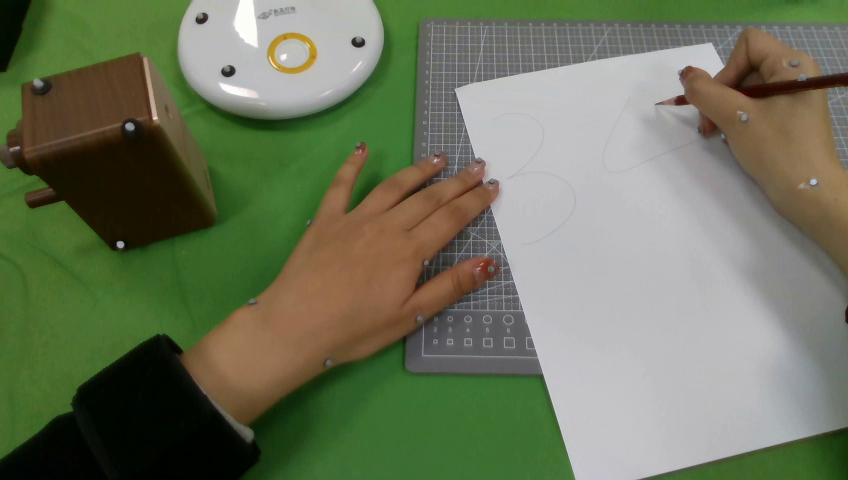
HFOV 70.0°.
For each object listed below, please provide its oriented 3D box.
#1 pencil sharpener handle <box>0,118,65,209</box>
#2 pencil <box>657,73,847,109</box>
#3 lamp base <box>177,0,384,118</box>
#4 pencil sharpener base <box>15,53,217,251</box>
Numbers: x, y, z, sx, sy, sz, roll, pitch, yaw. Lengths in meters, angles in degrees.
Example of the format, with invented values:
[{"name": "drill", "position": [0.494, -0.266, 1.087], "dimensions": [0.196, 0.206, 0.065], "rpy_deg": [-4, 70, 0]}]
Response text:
[{"name": "pencil sharpener handle", "position": [-0.232, -0.040, 0.355], "dimensions": [0.031, 0.068, 0.035], "rpy_deg": [-18, 65, -8]}, {"name": "pencil", "position": [0.222, -0.093, 0.372], "dimensions": [0.012, 0.192, 0.012], "rpy_deg": [-3, 96, -29]}, {"name": "lamp base", "position": [-0.120, -0.206, 0.417], "dimensions": [0.161, 0.182, 0.177], "rpy_deg": [-27, 62, -14]}, {"name": "pencil sharpener base", "position": [-0.184, -0.048, 0.373], "dimensions": [0.077, 0.108, 0.061], "rpy_deg": [-18, 63, -8]}]
